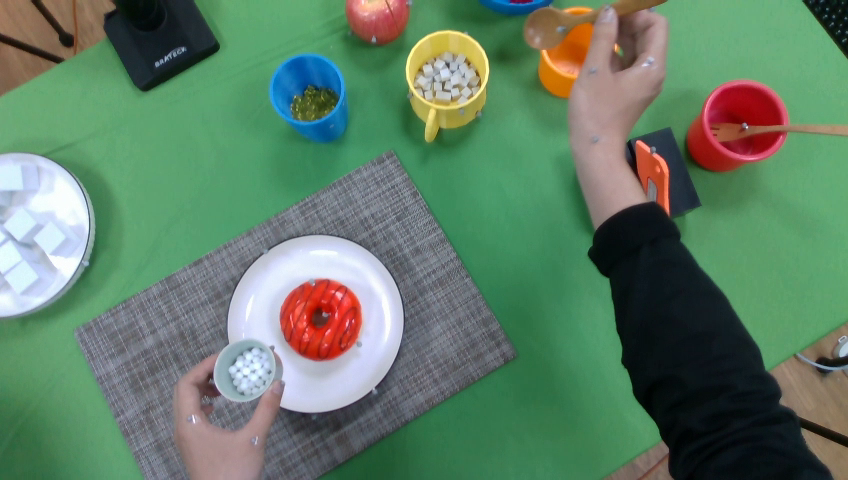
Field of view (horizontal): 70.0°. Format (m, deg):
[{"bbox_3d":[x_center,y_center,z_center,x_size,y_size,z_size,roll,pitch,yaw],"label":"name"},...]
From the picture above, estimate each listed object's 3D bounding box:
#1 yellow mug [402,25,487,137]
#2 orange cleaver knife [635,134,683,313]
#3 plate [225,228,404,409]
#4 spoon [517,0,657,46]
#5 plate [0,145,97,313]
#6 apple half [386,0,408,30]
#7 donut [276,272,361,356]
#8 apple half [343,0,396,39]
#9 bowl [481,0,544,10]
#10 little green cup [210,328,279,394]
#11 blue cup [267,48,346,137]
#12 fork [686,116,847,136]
[{"bbox_3d":[0.020,-0.188,0.743,0.100,0.064,0.130,17,82,4],"label":"yellow mug"},{"bbox_3d":[0.270,-0.017,0.700,0.012,0.076,0.212,-16,110,1],"label":"orange cleaver knife"},{"bbox_3d":[-0.126,0.090,0.714,0.209,0.038,0.208,0,81,2],"label":"plate"},{"bbox_3d":[0.145,-0.207,0.553,0.021,0.192,0.042,-26,110,-17],"label":"spoon"},{"bbox_3d":[-0.502,-0.013,0.746,0.207,0.039,0.207,0,81,2],"label":"plate"},{"bbox_3d":[-0.038,-0.306,0.759,0.033,0.081,0.081,-25,80,0],"label":"apple half"},{"bbox_3d":[-0.122,0.086,0.704,0.099,0.048,0.098,0,83,2],"label":"donut"},{"bbox_3d":[-0.073,-0.289,0.759,0.053,0.075,0.080,-25,84,1],"label":"apple half"},{"bbox_3d":[0.111,-0.348,0.760,0.151,0.077,0.151,0,82,2],"label":"bowl"},{"bbox_3d":[-0.174,0.123,0.601,0.061,0.039,0.061,-3,60,5],"label":"little green cup"},{"bbox_3d":[-0.132,-0.168,0.727,0.092,0.100,0.092,0,82,1],"label":"blue cup"},{"bbox_3d":[0.400,-0.129,0.682,0.205,0.019,0.028,11,64,46],"label":"fork"}]
